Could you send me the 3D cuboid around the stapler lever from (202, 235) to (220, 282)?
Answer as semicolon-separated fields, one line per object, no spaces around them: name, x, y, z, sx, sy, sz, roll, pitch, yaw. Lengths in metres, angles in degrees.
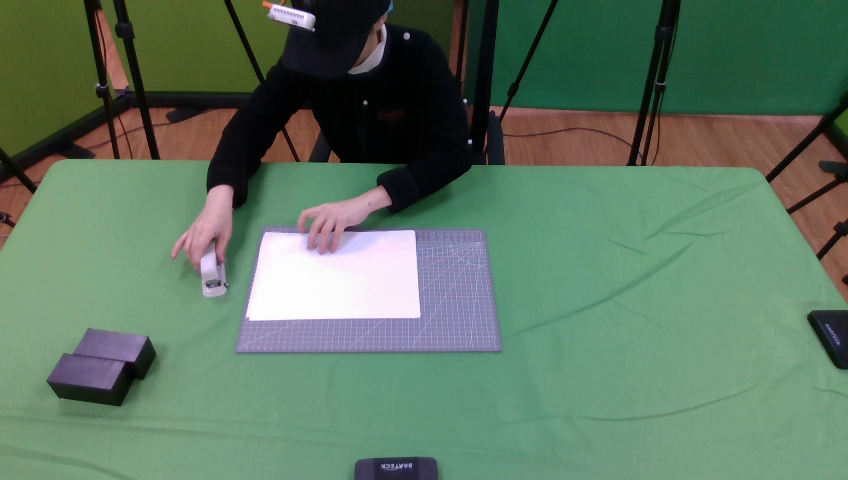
stapler lever;-0.390;0.029;1.103;0.027;0.040;0.117;-9;46;-16

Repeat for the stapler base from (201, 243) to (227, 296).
stapler base;-0.390;0.047;1.120;0.041;0.024;0.129;-9;45;-16
